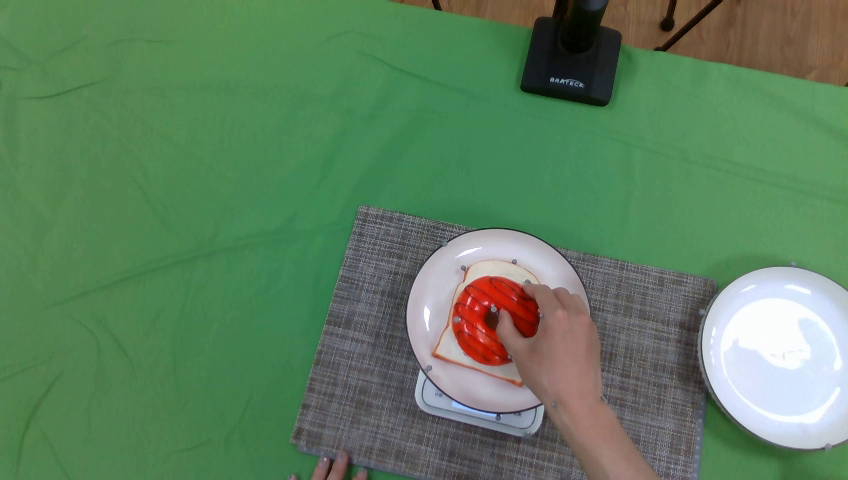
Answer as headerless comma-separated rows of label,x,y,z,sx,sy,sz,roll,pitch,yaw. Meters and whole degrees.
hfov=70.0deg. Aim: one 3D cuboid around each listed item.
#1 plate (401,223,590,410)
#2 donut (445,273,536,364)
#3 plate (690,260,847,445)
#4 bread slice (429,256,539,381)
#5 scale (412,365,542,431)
plate,0.079,0.084,0.684,0.209,0.038,0.208,0,75,1
donut,0.072,0.084,0.655,0.099,0.048,0.098,0,80,-2
plate,0.409,0.128,0.697,0.207,0.039,0.206,0,74,2
bread slice,0.073,0.082,0.688,0.105,0.019,0.131,17,76,4
scale,0.077,0.111,0.711,0.148,0.032,0.200,13,75,5
